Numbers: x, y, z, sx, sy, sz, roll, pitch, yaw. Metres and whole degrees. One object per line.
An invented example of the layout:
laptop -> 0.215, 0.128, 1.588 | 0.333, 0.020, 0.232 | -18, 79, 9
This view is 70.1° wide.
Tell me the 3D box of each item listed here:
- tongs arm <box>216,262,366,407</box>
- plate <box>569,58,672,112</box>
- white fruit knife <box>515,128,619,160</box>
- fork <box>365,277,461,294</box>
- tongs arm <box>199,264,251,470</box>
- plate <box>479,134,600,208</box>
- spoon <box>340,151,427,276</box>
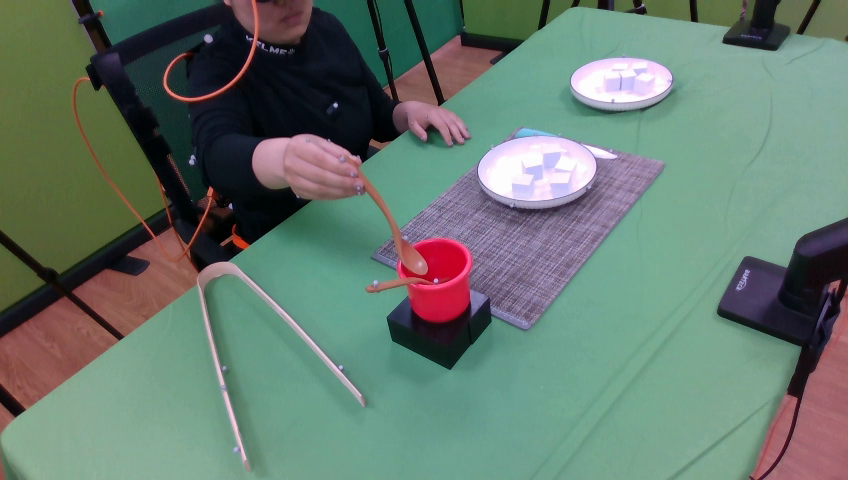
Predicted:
tongs arm -> -0.201, 0.122, 0.871 | 0.028, 0.028, 0.384 | -36, 46, -24
plate -> 0.411, -0.323, 1.274 | 0.209, 0.038, 0.208 | -5, 41, 5
white fruit knife -> 0.269, -0.182, 1.148 | 0.206, 0.016, 0.027 | 21, 77, 29
fork -> -0.009, 0.055, 0.744 | 0.028, 0.018, 0.209 | 27, 9, 28
tongs arm -> -0.270, 0.154, 0.841 | 0.051, 0.026, 0.381 | -23, 41, -17
plate -> 0.202, -0.117, 1.065 | 0.207, 0.039, 0.206 | -5, 40, 5
spoon -> -0.046, -0.030, 0.736 | 0.021, 0.195, 0.041 | -14, 33, 25
